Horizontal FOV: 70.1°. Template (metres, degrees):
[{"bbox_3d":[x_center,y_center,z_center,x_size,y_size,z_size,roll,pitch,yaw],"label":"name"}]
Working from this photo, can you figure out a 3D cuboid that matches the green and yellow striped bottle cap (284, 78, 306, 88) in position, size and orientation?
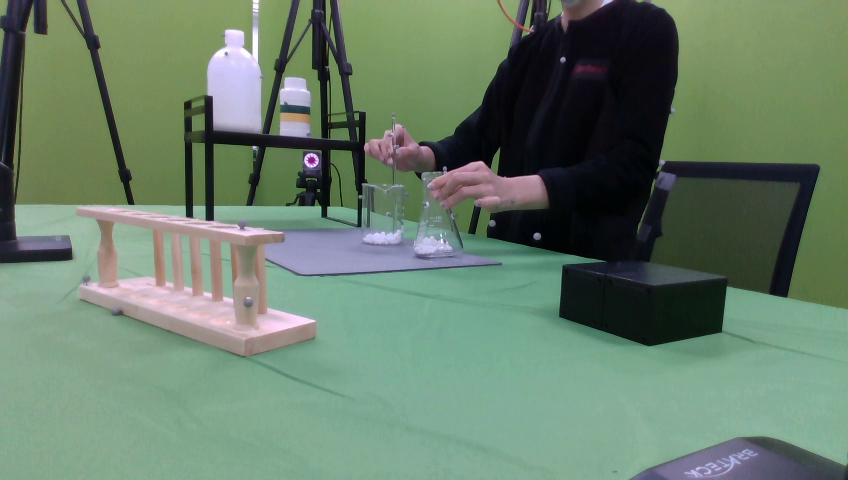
[{"bbox_3d":[-0.268,-0.325,1.259,0.045,0.020,0.045,5,7,0],"label":"green and yellow striped bottle cap"}]

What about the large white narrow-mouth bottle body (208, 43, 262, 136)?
[{"bbox_3d":[-0.369,-0.304,1.181,0.102,0.194,0.101,2,9,0],"label":"large white narrow-mouth bottle body"}]

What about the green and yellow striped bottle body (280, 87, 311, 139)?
[{"bbox_3d":[-0.269,-0.274,1.266,0.063,0.119,0.063,3,7,0],"label":"green and yellow striped bottle body"}]

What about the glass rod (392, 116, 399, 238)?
[{"bbox_3d":[-0.047,-0.102,0.988,0.008,0.199,0.008,-1,3,0],"label":"glass rod"}]

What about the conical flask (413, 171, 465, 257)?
[{"bbox_3d":[0.019,-0.037,0.871,0.075,0.122,0.075,-4,3,0],"label":"conical flask"}]

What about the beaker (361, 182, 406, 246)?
[{"bbox_3d":[-0.067,-0.042,0.993,0.074,0.100,0.084,1,8,-8],"label":"beaker"}]

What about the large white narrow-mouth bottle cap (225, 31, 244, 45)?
[{"bbox_3d":[-0.365,-0.388,1.166,0.038,0.024,0.037,2,9,0],"label":"large white narrow-mouth bottle cap"}]

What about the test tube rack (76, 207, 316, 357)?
[{"bbox_3d":[-0.196,0.023,0.500,0.241,0.085,0.067,8,9,36],"label":"test tube rack"}]
